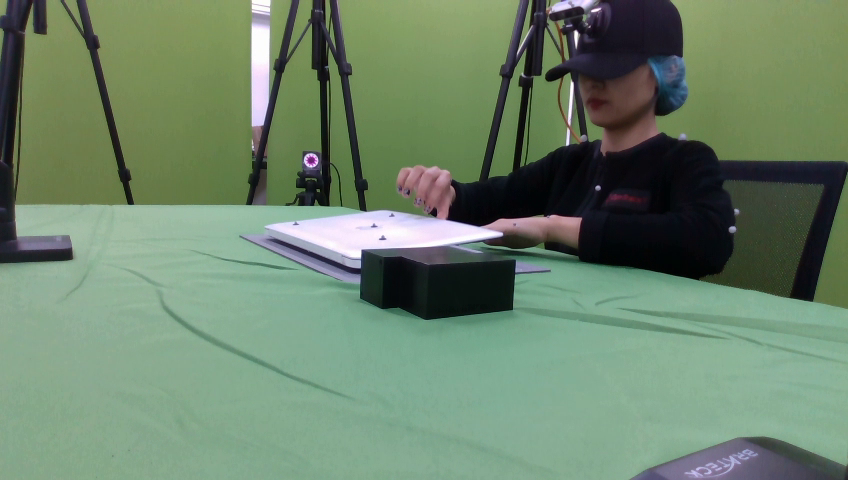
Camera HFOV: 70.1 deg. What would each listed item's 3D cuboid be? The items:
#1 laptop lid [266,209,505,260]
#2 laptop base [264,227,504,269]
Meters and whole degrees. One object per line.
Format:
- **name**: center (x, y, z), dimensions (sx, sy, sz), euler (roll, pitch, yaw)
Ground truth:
- **laptop lid**: center (-0.075, -0.018, 0.911), dimensions (0.243, 0.013, 0.355), euler (-9, 12, -29)
- **laptop base**: center (-0.077, 0.009, 0.914), dimensions (0.237, 0.023, 0.352), euler (1, 7, -33)
